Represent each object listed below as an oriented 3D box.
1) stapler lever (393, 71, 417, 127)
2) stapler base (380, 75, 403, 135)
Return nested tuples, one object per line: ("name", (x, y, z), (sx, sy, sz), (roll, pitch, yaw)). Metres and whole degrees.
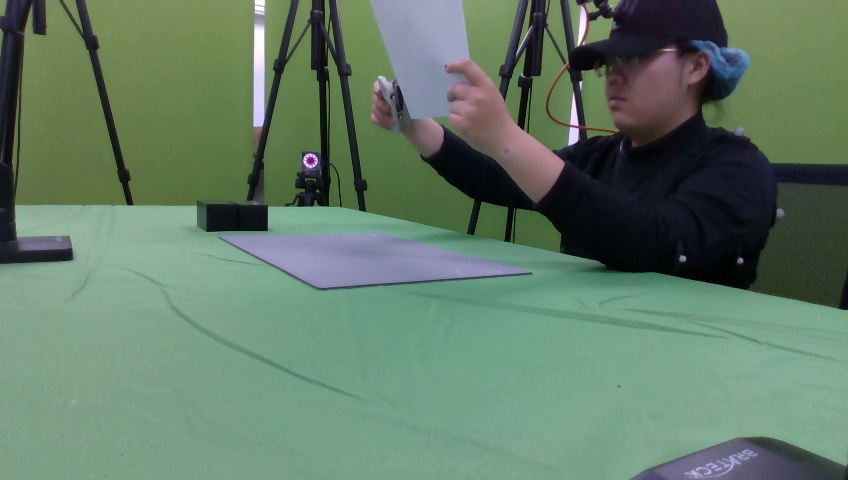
("stapler lever", (-0.031, -0.249, 1.064), (0.040, 0.026, 0.118), (-25, -24, -9))
("stapler base", (-0.053, -0.238, 1.058), (0.024, 0.041, 0.130), (-24, -24, -10))
